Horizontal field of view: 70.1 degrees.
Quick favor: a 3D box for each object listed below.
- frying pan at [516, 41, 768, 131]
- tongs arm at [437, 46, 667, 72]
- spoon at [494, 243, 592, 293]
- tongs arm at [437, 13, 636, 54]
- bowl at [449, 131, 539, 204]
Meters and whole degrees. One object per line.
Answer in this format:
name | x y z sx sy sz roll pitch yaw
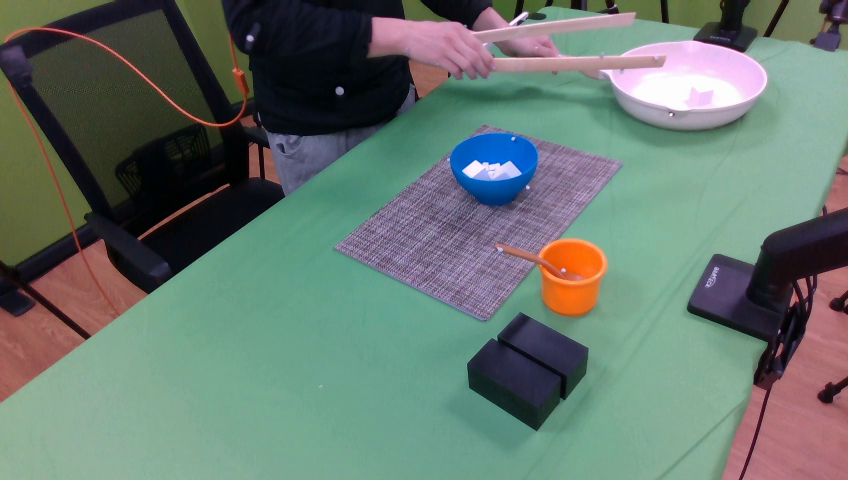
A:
frying pan | 0.424 -0.338 1.236 0.486 0.103 0.307 18 45 15
tongs arm | 0.215 -0.304 1.007 0.386 0.026 0.050 -5 55 -9
spoon | 0.161 0.035 0.808 0.021 0.195 0.041 -48 40 20
tongs arm | 0.201 -0.359 1.049 0.389 0.028 0.028 -13 60 -15
bowl | 0.120 -0.114 1.034 0.151 0.077 0.150 -4 41 4
